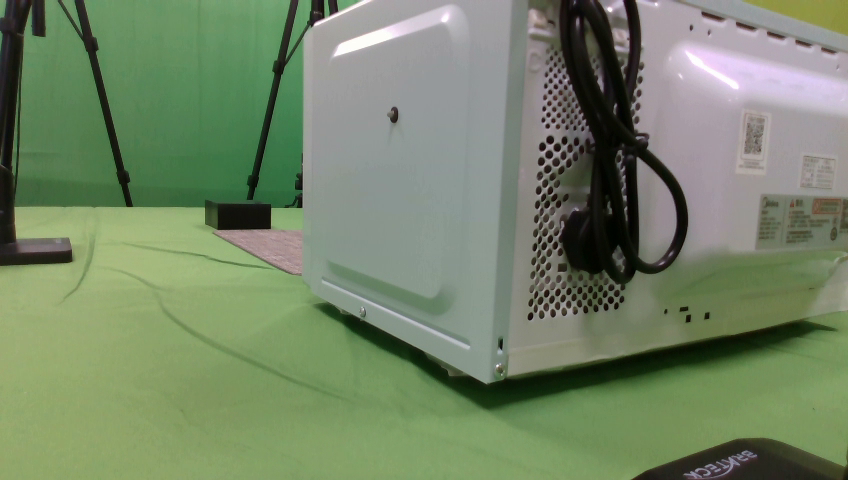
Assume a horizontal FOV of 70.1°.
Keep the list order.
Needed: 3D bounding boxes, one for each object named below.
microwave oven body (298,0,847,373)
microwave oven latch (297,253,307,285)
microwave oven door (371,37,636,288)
[{"bbox_3d":[0.151,-0.055,0.543,0.444,0.260,0.324,-1,7,-33],"label":"microwave oven body"},{"bbox_3d":[-0.082,0.027,0.582,0.079,0.029,0.030,-1,7,-33],"label":"microwave oven latch"},{"bbox_3d":[0.109,-0.080,0.686,0.358,0.243,0.039,-2,9,-33],"label":"microwave oven door"}]
